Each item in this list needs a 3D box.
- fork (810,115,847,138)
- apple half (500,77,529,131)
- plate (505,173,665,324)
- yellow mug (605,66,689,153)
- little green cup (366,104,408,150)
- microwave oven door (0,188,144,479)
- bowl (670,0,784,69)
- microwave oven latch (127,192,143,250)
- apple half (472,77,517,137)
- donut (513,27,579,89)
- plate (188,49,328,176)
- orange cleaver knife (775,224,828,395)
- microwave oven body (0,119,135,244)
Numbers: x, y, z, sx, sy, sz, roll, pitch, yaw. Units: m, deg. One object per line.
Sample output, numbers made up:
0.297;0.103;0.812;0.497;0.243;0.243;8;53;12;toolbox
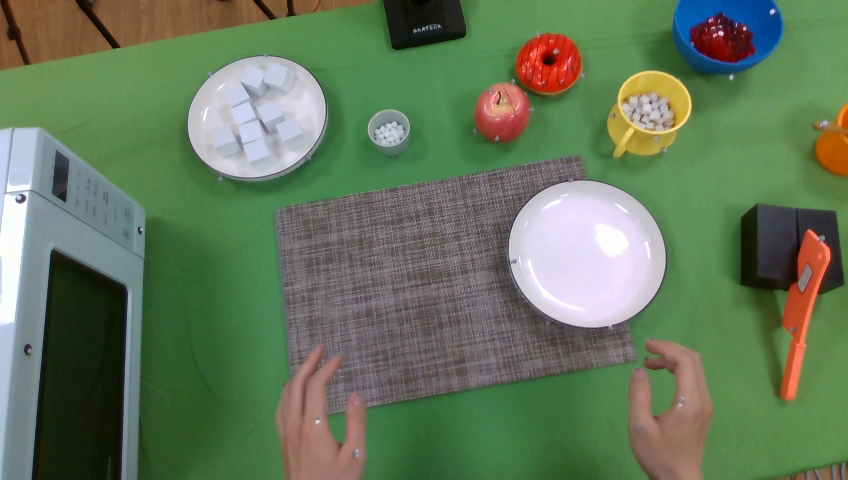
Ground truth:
0.543;-0.146;0.789;0.209;0.018;0.028;1;66;-43;fork
0.133;-0.197;0.869;0.033;0.082;0.080;-19;71;2;apple half
0.212;0.012;0.812;0.209;0.038;0.208;-1;72;3;plate
0.305;-0.175;0.856;0.099;0.064;0.130;37;79;14;yellow mug
-0.052;-0.163;0.887;0.061;0.039;0.061;-1;72;3;little green cup
-0.393;0.149;0.679;0.039;0.245;0.353;-8;72;1;microwave oven door
0.428;-0.306;0.885;0.151;0.077;0.150;-1;73;4;bowl
-0.410;-0.025;0.843;0.030;0.030;0.078;-5;73;1;microwave oven latch
0.096;-0.184;0.868;0.053;0.075;0.080;-19;75;2;apple half
0.183;-0.272;0.907;0.099;0.048;0.098;-1;75;4;donut
-0.244;-0.187;0.906;0.207;0.039;0.206;-1;72;3;plate
0.463;0.087;0.755;0.012;0.077;0.212;8;103;10;orange cleaver knife
-0.542;0.129;0.699;0.326;0.262;0.438;-7;72;0;microwave oven body
